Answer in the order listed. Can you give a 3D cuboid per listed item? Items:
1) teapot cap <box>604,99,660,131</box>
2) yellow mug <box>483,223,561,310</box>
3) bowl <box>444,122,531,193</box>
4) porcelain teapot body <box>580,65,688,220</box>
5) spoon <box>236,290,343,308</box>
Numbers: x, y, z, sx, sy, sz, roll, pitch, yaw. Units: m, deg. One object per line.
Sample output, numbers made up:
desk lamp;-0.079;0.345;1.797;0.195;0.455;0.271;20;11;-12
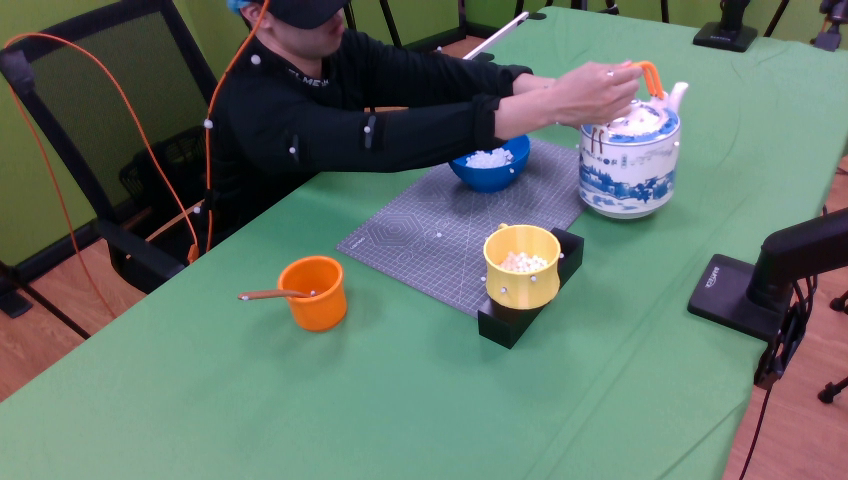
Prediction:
teapot cap;0.307;-0.186;0.899;0.085;0.044;0.085;-5;35;4
yellow mug;0.125;0.025;0.811;0.100;0.064;0.130;-16;39;-10
bowl;0.113;-0.136;1.064;0.151;0.077;0.150;-4;41;4
porcelain teapot body;0.335;-0.167;0.933;0.206;0.226;0.144;-31;40;-26
spoon;-0.176;0.076;0.808;0.041;0.195;0.021;23;94;30
